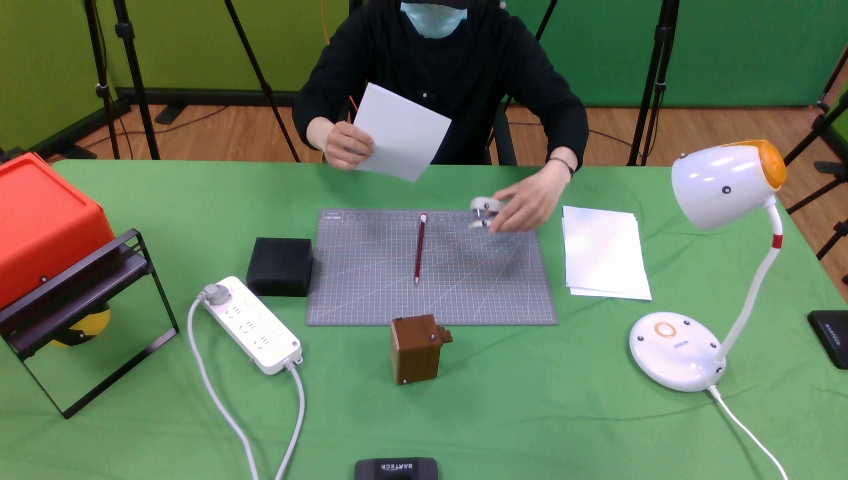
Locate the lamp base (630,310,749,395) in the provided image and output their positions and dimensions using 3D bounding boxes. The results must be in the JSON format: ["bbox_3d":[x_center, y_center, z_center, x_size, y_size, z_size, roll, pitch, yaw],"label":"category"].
[{"bbox_3d":[0.447,0.142,0.984,0.161,0.181,0.178,-24,55,-24],"label":"lamp base"}]

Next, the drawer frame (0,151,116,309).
[{"bbox_3d":[-0.604,-0.013,0.876,0.201,0.083,0.213,31,52,23],"label":"drawer frame"}]

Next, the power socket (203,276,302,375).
[{"bbox_3d":[-0.297,0.141,1.034,0.072,0.033,0.225,-34,58,-30],"label":"power socket"}]

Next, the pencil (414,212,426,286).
[{"bbox_3d":[-0.008,0.014,1.190,0.012,0.012,0.193,5,48,1],"label":"pencil"}]

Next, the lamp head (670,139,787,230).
[{"bbox_3d":[0.415,-0.079,0.812,0.113,0.123,0.112,13,70,-37],"label":"lamp head"}]

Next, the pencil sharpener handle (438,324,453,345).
[{"bbox_3d":[0.036,0.155,0.976,0.031,0.068,0.036,-8,69,-11],"label":"pencil sharpener handle"}]

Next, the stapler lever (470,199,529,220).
[{"bbox_3d":[0.142,-0.059,1.146,0.118,0.027,0.040,-3,85,-25],"label":"stapler lever"}]

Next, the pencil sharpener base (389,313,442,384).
[{"bbox_3d":[-0.013,0.175,0.971,0.077,0.107,0.061,-8,47,-11],"label":"pencil sharpener base"}]

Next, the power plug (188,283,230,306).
[{"bbox_3d":[-0.368,0.099,1.037,0.072,0.053,0.035,-24,52,-25],"label":"power plug"}]

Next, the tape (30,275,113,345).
[{"bbox_3d":[-0.594,0.117,1.022,0.117,0.053,0.116,2,45,-2],"label":"tape"}]

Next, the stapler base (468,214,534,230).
[{"bbox_3d":[0.144,-0.035,1.142,0.131,0.041,0.024,-2,84,-25],"label":"stapler base"}]

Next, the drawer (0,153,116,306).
[{"bbox_3d":[-0.601,-0.015,0.880,0.193,0.073,0.211,32,53,23],"label":"drawer"}]
